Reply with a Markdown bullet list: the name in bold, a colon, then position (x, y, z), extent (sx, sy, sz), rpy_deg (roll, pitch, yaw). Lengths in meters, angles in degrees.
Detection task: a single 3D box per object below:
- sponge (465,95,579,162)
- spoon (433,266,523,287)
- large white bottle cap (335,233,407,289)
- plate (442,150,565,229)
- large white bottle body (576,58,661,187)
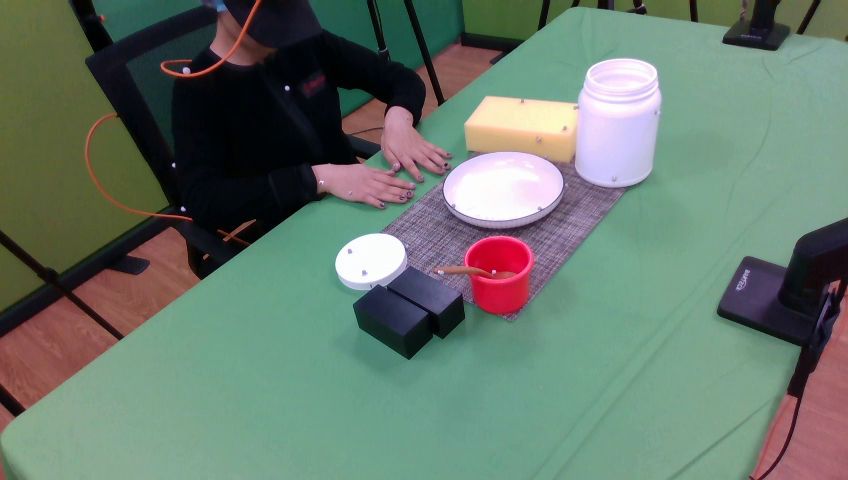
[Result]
- **sponge**: position (0.197, -0.218, 1.168), extent (0.205, 0.061, 0.118), rpy_deg (11, 44, 22)
- **spoon**: position (0.074, 0.045, 0.815), extent (0.041, 0.021, 0.195), rpy_deg (33, 12, 38)
- **large white bottle cap**: position (-0.085, 0.032, 0.961), extent (0.115, 0.018, 0.114), rpy_deg (-6, 42, 6)
- **plate**: position (0.136, -0.085, 1.039), extent (0.209, 0.038, 0.208), rpy_deg (-5, 40, 5)
- **large white bottle body**: position (0.326, -0.197, 1.021), extent (0.130, 0.185, 0.130), rpy_deg (-5, 40, 5)
